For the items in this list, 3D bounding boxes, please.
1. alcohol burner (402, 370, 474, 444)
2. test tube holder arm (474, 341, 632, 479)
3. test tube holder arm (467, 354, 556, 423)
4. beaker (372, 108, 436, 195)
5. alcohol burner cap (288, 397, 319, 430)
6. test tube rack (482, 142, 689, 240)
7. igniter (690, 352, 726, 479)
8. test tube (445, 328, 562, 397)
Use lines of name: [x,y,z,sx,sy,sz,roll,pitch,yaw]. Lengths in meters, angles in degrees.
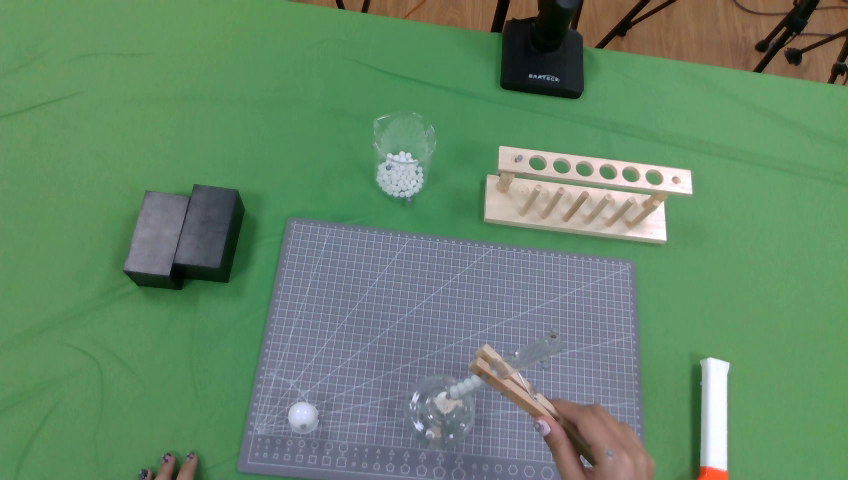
alcohol burner: [0.017,0.172,0.638,0.078,0.120,0.077,3,66,-6]
test tube holder arm: [0.110,0.149,0.509,0.179,0.015,0.013,42,53,-5]
test tube holder arm: [0.073,0.123,0.501,0.088,0.015,0.010,36,53,-10]
beaker: [-0.031,-0.107,0.756,0.084,0.101,0.074,33,67,8]
alcohol burner cap: [-0.131,0.185,0.653,0.034,0.048,0.033,3,68,-6]
test tube rack: [0.202,-0.060,0.774,0.243,0.085,0.066,7,67,-4]
igniter: [0.325,0.265,0.689,0.057,0.025,0.274,17,67,-11]
test tube: [0.059,0.104,0.498,0.017,0.150,0.017,16,56,-25]
